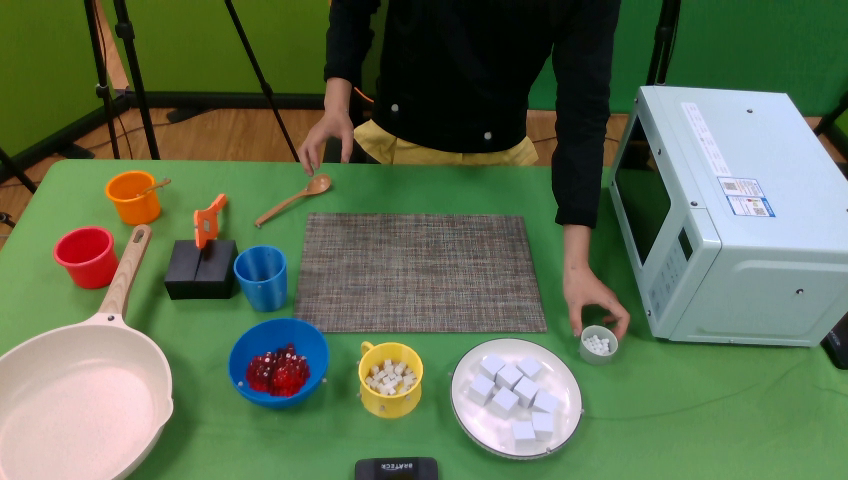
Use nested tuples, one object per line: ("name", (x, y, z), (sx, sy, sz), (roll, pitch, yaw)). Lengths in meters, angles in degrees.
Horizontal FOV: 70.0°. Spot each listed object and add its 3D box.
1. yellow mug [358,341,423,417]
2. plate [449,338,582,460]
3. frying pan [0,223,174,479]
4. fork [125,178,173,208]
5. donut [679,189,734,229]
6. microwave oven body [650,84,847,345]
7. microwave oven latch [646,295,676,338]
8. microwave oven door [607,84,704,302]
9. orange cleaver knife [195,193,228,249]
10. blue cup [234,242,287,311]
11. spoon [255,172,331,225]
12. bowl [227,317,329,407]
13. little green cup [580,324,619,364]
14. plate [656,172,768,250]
("yellow mug", (-0.062, 0.209, 0.961), (0.100, 0.064, 0.130), (-29, 54, -27))
("plate", (0.141, 0.251, 0.955), (0.208, 0.039, 0.206), (2, 46, -2))
("frying pan", (-0.504, 0.169, 0.941), (0.307, 0.103, 0.485), (5, 54, -1))
("fork", (-0.525, -0.090, 1.154), (0.207, 0.019, 0.028), (-17, 27, 45))
("donut", (0.545, -0.062, 1.175), (0.099, 0.048, 0.098), (0, 45, 0))
("microwave oven body", (0.569, -0.054, 1.116), (0.326, 0.261, 0.439), (2, 46, -1))
("microwave oven latch", (0.412, 0.133, 1.061), (0.030, 0.029, 0.078), (3, 46, 0))
("microwave oven door", (0.424, -0.096, 1.138), (0.039, 0.245, 0.353), (2, 46, -1))
("orange cleaver knife", (-0.406, -0.041, 1.163), (0.012, 0.077, 0.210), (0, 18, -3))
("blue cup", (-0.276, 0.071, 1.052), (0.093, 0.101, 0.092), (1, 48, -1))
("spoon", (-0.272, -0.087, 1.257), (0.041, 0.022, 0.193), (43, 57, 16))
("bowl", (-0.222, 0.203, 0.947), (0.151, 0.077, 0.150), (2, 46, -2))
("little green cup", (0.296, 0.179, 1.032), (0.061, 0.039, 0.061), (2, 46, -2))
("plate", (0.557, -0.053, 1.186), (0.209, 0.038, 0.208), (2, 45, -2))
